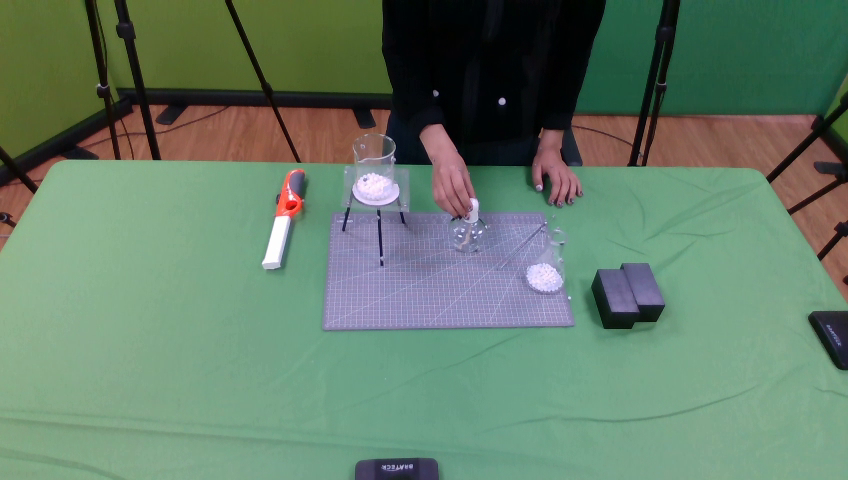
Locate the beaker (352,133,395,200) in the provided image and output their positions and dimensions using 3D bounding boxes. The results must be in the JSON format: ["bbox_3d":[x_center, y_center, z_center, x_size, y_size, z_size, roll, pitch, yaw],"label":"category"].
[{"bbox_3d":[-0.091,-0.126,1.074,0.074,0.101,0.084,26,48,21],"label":"beaker"}]

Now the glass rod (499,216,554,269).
[{"bbox_3d":[0.208,0.002,1.219,0.008,0.008,0.199,32,52,25],"label":"glass rod"}]

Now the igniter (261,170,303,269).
[{"bbox_3d":[-0.284,-0.050,1.222,0.057,0.025,0.275,-4,45,6],"label":"igniter"}]

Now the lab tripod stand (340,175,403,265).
[{"bbox_3d":[-0.093,-0.050,1.160,0.148,0.132,0.147,2,44,-2],"label":"lab tripod stand"}]

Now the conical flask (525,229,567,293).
[{"bbox_3d":[0.232,0.036,1.110,0.075,0.122,0.075,2,46,-2],"label":"conical flask"}]

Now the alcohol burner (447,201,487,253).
[{"bbox_3d":[0.085,-0.033,1.171,0.078,0.119,0.077,4,45,-4],"label":"alcohol burner"}]

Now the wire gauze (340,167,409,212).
[{"bbox_3d":[-0.091,-0.095,1.111,0.125,0.011,0.120,1,43,-2],"label":"wire gauze"}]

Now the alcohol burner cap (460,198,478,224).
[{"bbox_3d":[0.087,-0.057,1.144,0.034,0.048,0.033,1,45,-1],"label":"alcohol burner cap"}]
